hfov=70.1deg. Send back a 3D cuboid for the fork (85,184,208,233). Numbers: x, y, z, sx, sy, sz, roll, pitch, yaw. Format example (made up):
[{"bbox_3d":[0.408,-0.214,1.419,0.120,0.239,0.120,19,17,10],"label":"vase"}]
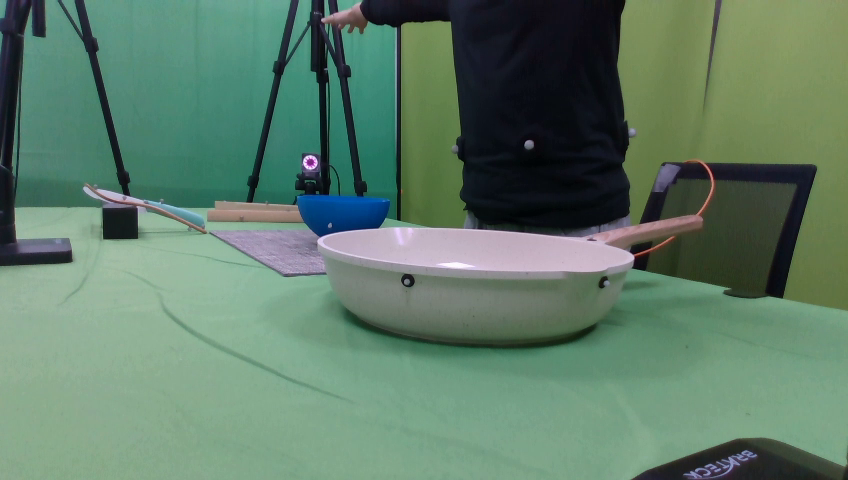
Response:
[{"bbox_3d":[-0.462,-0.051,1.020,0.208,0.018,0.028,22,-8,-37],"label":"fork"}]

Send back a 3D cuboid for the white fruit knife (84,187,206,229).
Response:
[{"bbox_3d":[-0.488,-0.059,1.071,0.208,0.027,0.016,17,4,-33],"label":"white fruit knife"}]

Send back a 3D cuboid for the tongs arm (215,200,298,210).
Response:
[{"bbox_3d":[-0.295,-0.070,1.425,0.386,0.026,0.050,2,7,-9],"label":"tongs arm"}]

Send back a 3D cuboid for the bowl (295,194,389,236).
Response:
[{"bbox_3d":[-0.132,-0.032,0.980,0.151,0.077,0.151,2,7,0],"label":"bowl"}]

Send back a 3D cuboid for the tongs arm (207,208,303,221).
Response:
[{"bbox_3d":[-0.277,-0.056,1.347,0.389,0.028,0.028,0,5,-22],"label":"tongs arm"}]

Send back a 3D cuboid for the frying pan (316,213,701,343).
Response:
[{"bbox_3d":[0.133,0.013,0.629,0.490,0.102,0.305,-12,14,-30],"label":"frying pan"}]
